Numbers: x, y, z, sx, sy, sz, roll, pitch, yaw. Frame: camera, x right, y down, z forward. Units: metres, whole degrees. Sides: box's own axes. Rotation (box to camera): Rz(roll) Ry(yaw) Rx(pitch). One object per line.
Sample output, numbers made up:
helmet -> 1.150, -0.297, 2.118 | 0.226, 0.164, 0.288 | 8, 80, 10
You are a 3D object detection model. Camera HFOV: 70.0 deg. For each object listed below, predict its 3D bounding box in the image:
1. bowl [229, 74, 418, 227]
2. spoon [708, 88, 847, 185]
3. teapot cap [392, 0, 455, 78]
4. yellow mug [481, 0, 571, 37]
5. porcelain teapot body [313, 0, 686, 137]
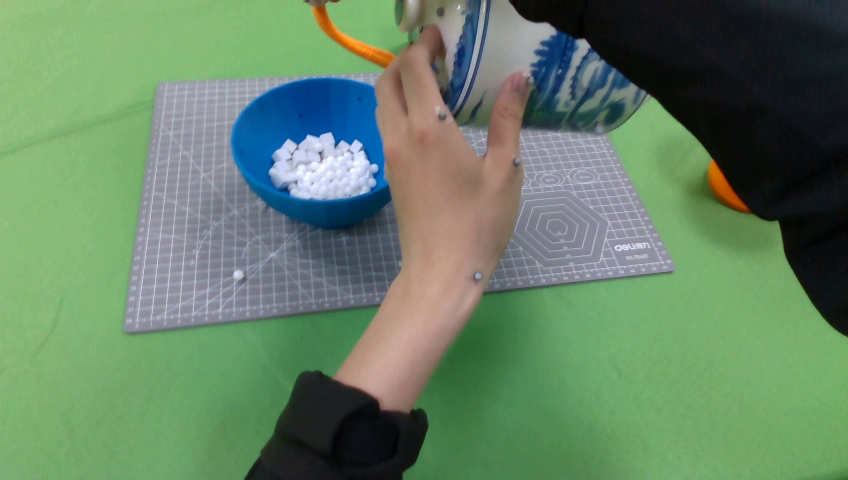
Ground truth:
bowl -> -0.082, -0.064, 0.517 | 0.151, 0.077, 0.150 | 3, 52, -3
spoon -> 0.353, -0.110, 0.551 | 0.022, 0.194, 0.041 | 28, 36, -42
teapot cap -> 0.002, -0.149, 0.390 | 0.044, 0.086, 0.084 | -4, 53, -15
yellow mug -> 0.107, -0.264, 0.638 | 0.099, 0.064, 0.130 | 22, 55, 12
porcelain teapot body -> 0.035, -0.134, 0.424 | 0.226, 0.206, 0.144 | -1, 61, -16
